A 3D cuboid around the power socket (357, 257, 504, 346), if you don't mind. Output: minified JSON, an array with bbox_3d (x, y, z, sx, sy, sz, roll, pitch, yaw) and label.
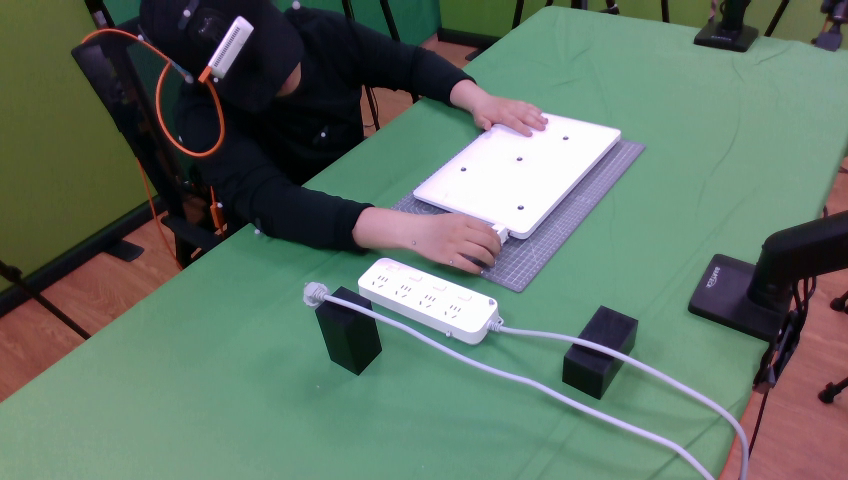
[{"bbox_3d":[0.002,0.084,0.862,0.225,0.033,0.072,20,49,28],"label":"power socket"}]

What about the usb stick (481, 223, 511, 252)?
[{"bbox_3d":[0.114,-0.007,0.933,0.021,0.027,0.059,21,40,37],"label":"usb stick"}]

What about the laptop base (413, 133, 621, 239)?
[{"bbox_3d":[0.176,-0.134,1.101,0.233,0.023,0.355,21,48,33],"label":"laptop base"}]

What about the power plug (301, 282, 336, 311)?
[{"bbox_3d":[-0.133,0.082,0.783,0.035,0.053,0.072,-42,48,-7],"label":"power plug"}]

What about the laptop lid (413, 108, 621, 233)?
[{"bbox_3d":[0.173,-0.143,1.095,0.239,0.013,0.358,23,49,34],"label":"laptop lid"}]
